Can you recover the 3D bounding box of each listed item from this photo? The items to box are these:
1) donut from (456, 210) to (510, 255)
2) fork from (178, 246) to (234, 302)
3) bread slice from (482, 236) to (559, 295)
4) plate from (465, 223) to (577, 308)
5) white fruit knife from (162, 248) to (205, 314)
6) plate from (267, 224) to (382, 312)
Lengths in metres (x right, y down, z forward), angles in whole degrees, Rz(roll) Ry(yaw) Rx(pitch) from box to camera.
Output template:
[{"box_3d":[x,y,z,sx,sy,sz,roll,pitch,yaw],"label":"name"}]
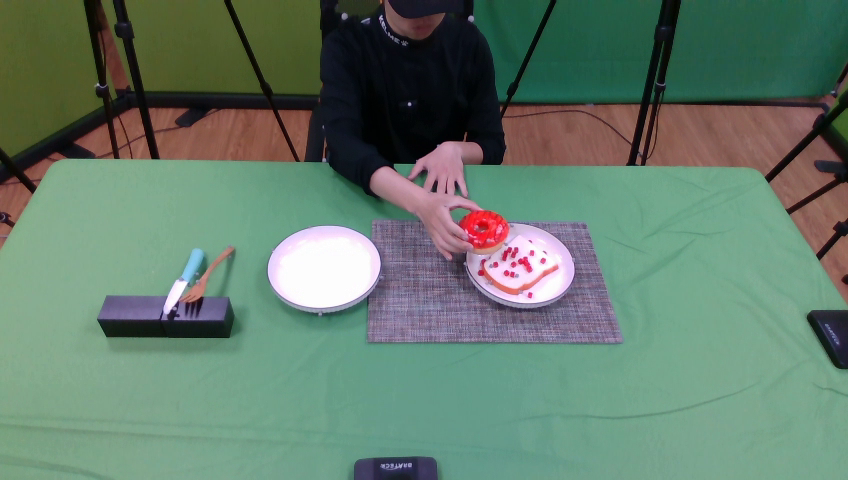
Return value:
[{"box_3d":[0.107,-0.015,1.109,0.099,0.048,0.098,-7,47,8],"label":"donut"},{"box_3d":[-0.380,0.057,1.075,0.028,0.019,0.206,2,28,5],"label":"fork"},{"box_3d":[0.177,0.050,1.147,0.131,0.019,0.104,-32,55,-30],"label":"bread slice"},{"box_3d":[0.180,0.051,1.144,0.209,0.038,0.208,2,45,-2],"label":"plate"},{"box_3d":[-0.420,0.070,1.063,0.027,0.016,0.206,-1,29,-3],"label":"white fruit knife"},{"box_3d":[-0.182,0.055,1.120,0.208,0.039,0.206,2,46,-2],"label":"plate"}]
